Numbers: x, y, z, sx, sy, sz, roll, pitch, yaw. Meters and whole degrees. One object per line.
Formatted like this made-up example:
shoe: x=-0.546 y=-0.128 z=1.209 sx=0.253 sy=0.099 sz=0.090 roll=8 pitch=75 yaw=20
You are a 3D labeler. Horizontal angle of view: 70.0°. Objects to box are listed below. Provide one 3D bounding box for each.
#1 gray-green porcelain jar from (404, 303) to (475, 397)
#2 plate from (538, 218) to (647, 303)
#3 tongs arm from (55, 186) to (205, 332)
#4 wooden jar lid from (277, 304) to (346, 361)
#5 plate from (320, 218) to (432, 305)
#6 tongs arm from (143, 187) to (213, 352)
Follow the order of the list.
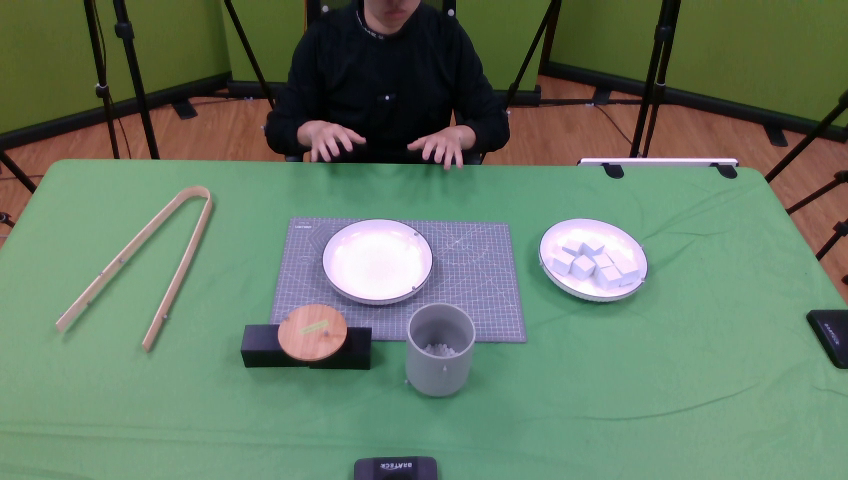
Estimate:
gray-green porcelain jar: x=0.022 y=0.178 z=0.956 sx=0.106 sy=0.127 sz=0.105 roll=2 pitch=46 yaw=-2
plate: x=0.322 y=0.042 z=1.171 sx=0.208 sy=0.039 sz=0.206 roll=2 pitch=46 yaw=-2
tongs arm: x=-0.530 y=0.022 z=1.126 sx=0.051 sy=0.026 sz=0.383 roll=14 pitch=46 yaw=8
wooden jar lid: x=-0.179 y=0.150 z=0.972 sx=0.108 sy=0.021 sz=0.107 roll=2 pitch=45 yaw=-2
plate: x=-0.088 y=0.044 z=1.134 sx=0.209 sy=0.038 sz=0.208 roll=3 pitch=46 yaw=-2
tongs arm: x=-0.449 y=0.039 z=1.121 sx=0.028 sy=0.028 sz=0.385 roll=2 pitch=46 yaw=1
